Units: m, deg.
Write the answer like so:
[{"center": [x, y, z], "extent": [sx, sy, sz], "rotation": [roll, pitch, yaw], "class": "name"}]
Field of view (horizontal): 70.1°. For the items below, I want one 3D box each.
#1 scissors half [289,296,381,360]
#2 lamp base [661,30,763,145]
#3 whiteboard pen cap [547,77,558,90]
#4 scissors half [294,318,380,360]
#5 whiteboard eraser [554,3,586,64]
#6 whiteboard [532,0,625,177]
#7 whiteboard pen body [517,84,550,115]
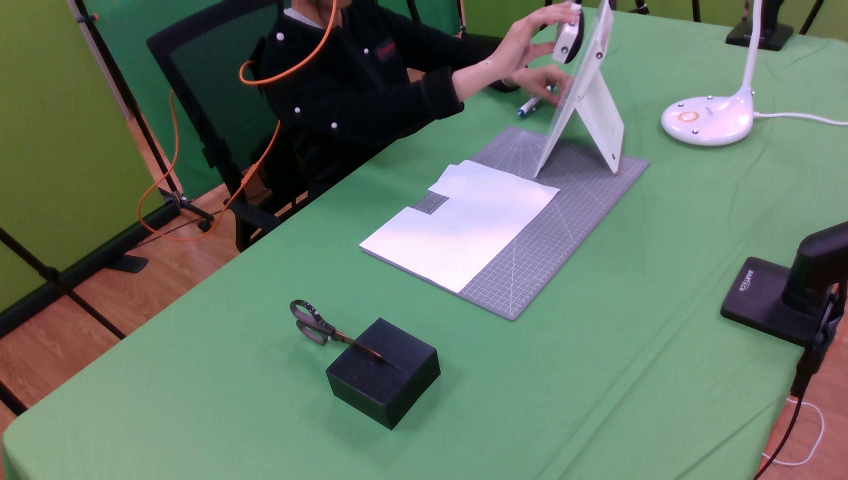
[{"center": [-0.120, 0.117, 0.798], "extent": [0.174, 0.040, 0.013], "rotation": [27, 43, 31], "class": "scissors half"}, {"center": [0.535, -0.287, 1.096], "extent": [0.179, 0.181, 0.159], "rotation": [-10, 40, -4], "class": "lamp base"}, {"center": [0.279, -0.341, 1.321], "extent": [0.018, 0.018, 0.033], "rotation": [22, 51, 31], "class": "whiteboard pen cap"}, {"center": [-0.118, 0.135, 0.809], "extent": [0.173, 0.040, 0.013], "rotation": [9, 37, 44], "class": "scissors half"}, {"center": [0.240, -0.337, 0.986], "extent": [0.042, 0.055, 0.112], "rotation": [16, 46, 0], "class": "whiteboard eraser"}, {"center": [0.320, -0.258, 1.050], "extent": [0.144, 0.306, 0.217], "rotation": [21, 45, 5], "class": "whiteboard"}, {"center": [0.241, -0.306, 1.291], "extent": [0.017, 0.017, 0.141], "rotation": [22, 51, 32], "class": "whiteboard pen body"}]
